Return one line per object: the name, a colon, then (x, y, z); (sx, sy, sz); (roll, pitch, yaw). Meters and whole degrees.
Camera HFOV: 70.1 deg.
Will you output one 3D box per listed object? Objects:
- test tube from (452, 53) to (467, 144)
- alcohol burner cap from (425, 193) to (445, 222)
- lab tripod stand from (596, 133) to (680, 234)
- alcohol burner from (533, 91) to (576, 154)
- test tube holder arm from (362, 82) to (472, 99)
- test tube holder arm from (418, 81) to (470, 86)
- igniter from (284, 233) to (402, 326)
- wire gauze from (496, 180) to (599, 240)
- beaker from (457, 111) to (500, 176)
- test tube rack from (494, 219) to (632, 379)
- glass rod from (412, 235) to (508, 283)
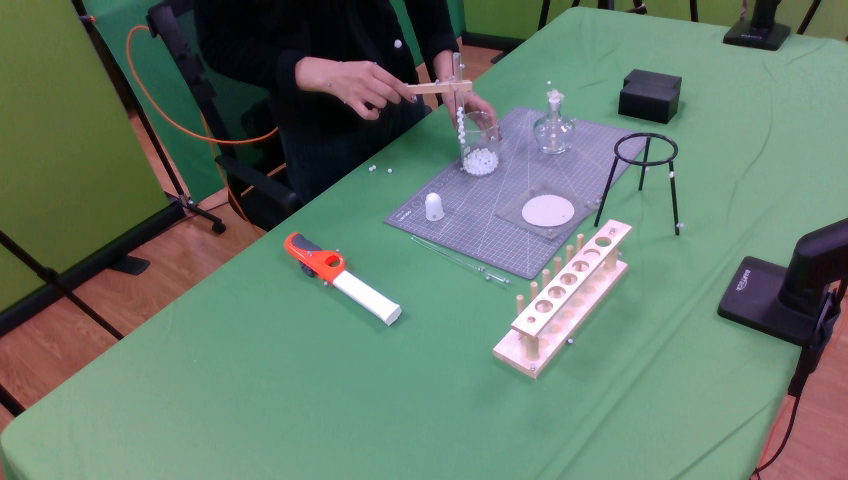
test tube: (0.059, -0.232, 0.999); (0.017, 0.150, 0.017); (-5, 25, 3)
alcohol burner cap: (0.017, -0.058, 1.029); (0.034, 0.048, 0.033); (-6, 40, 5)
lab tripod stand: (0.338, -0.091, 0.940); (0.148, 0.132, 0.147); (-7, 39, 6)
alcohol burner: (0.243, -0.222, 1.124); (0.078, 0.119, 0.077); (-4, 39, 4)
test tube holder arm: (-0.011, -0.243, 0.980); (0.179, 0.015, 0.013); (-6, 20, -5)
test tube holder arm: (0.033, -0.250, 0.991); (0.088, 0.015, 0.010); (-8, 21, -11)
igniter: (-0.136, 0.054, 0.942); (0.274, 0.025, 0.057); (30, 64, 37)
wire gauze: (0.206, -0.050, 1.012); (0.125, 0.011, 0.120); (-34, 45, -26)
beaker: (0.104, -0.176, 1.108); (0.073, 0.101, 0.084); (16, 46, 26)
test tube rack: (0.191, 0.068, 0.818); (0.066, 0.085, 0.243); (25, 51, 35)
glass rod: (0.051, 0.028, 0.951); (0.198, 0.008, 0.008); (25, 51, 37)
